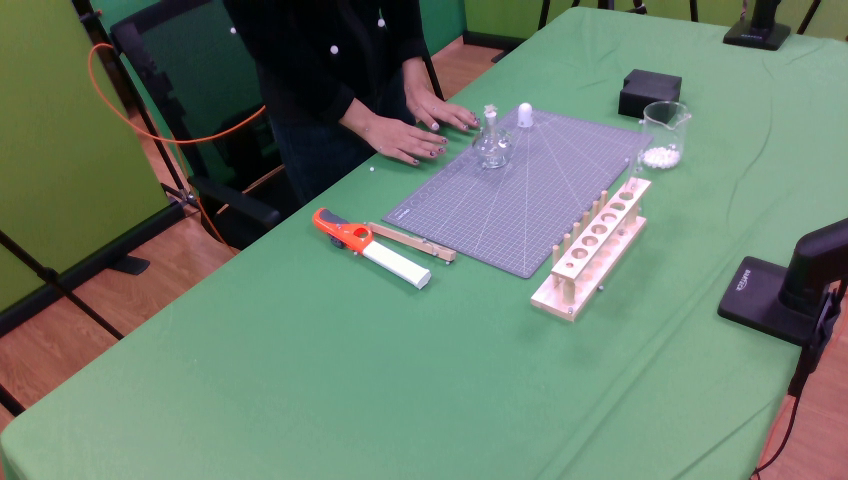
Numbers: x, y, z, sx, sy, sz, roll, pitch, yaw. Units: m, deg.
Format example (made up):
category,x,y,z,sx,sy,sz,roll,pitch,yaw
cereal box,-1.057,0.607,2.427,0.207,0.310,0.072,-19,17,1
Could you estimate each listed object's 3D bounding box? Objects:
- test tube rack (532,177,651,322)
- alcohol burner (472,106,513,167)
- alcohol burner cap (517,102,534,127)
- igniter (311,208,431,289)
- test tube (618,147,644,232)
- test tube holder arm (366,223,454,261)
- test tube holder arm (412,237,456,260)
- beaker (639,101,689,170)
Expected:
category,x,y,z,sx,sy,sz,roll,pitch,yaw
test tube rack,0.247,0.002,0.883,0.066,0.085,0.243,23,49,32
alcohol burner,0.125,-0.195,1.112,0.078,0.119,0.077,-5,42,5
alcohol burner cap,0.205,-0.255,1.223,0.034,0.048,0.033,-6,41,6
igniter,-0.096,0.008,0.985,0.274,0.025,0.057,28,63,36
test tube,0.301,-0.070,0.881,0.017,0.151,0.017,-3,43,3
test tube holder arm,-0.027,0.001,0.986,0.177,0.015,0.013,19,14,30
test tube holder arm,0.013,0.013,0.968,0.087,0.015,0.010,19,14,30
beaker,0.416,-0.178,1.053,0.074,0.101,0.083,-4,41,7
